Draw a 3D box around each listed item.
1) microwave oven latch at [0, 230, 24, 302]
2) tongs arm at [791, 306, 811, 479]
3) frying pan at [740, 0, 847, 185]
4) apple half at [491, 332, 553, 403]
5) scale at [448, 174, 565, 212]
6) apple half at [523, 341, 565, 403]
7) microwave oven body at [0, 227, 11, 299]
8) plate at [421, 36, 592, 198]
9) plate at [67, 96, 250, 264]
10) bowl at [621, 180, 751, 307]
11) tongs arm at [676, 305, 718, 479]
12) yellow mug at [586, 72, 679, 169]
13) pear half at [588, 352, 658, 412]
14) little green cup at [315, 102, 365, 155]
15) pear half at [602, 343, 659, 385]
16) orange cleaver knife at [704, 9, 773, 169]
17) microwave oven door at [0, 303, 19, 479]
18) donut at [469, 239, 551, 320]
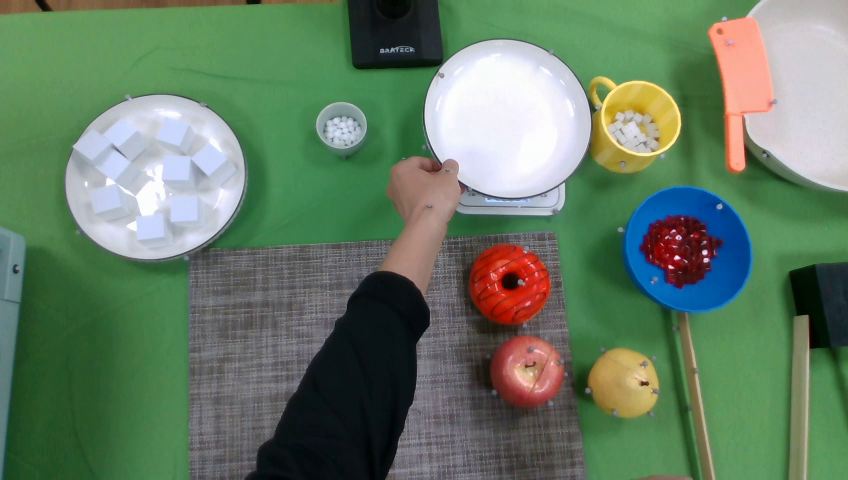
[{"bbox_3d":[-0.471,0.030,0.679,0.030,0.029,0.079,1,79,-4],"label":"microwave oven latch"},{"bbox_3d":[0.435,0.268,0.716,0.028,0.028,0.386,12,78,-9],"label":"tongs arm"},{"bbox_3d":[0.582,-0.121,0.768,0.307,0.103,0.484,-31,74,-8],"label":"frying pan"},{"bbox_3d":[0.105,0.139,0.693,0.053,0.075,0.080,28,81,6],"label":"apple half"},{"bbox_3d":[0.104,-0.136,0.775,0.149,0.031,0.200,0,79,-4],"label":"scale"},{"bbox_3d":[0.140,0.156,0.691,0.033,0.081,0.081,28,77,6],"label":"apple half"},{"bbox_3d":[-0.606,0.185,0.538,0.326,0.261,0.439,-1,79,-5],"label":"microwave oven body"},{"bbox_3d":[0.100,-0.149,0.743,0.209,0.038,0.208,1,77,-5],"label":"plate"},{"bbox_3d":[-0.313,-0.070,0.730,0.208,0.039,0.206,1,78,-4],"label":"plate"},{"bbox_3d":[0.303,0.010,0.735,0.151,0.077,0.150,1,79,-3],"label":"bowl"},{"bbox_3d":[0.350,0.265,0.707,0.051,0.026,0.383,-3,79,-9],"label":"tongs arm"},{"bbox_3d":[0.253,-0.161,0.773,0.100,0.064,0.130,-36,82,-9],"label":"yellow mug"},{"bbox_3d":[0.225,0.165,0.681,0.076,0.110,0.056,27,77,7],"label":"pear half"},{"bbox_3d":[-0.104,-0.137,0.758,0.061,0.039,0.061,1,77,-3],"label":"little green cup"},{"bbox_3d":[0.242,0.137,0.698,0.070,0.088,0.031,26,78,5],"label":"pear half"},{"bbox_3d":[0.394,-0.191,0.751,0.077,0.012,0.210,0,79,-1],"label":"orange cleaver knife"},{"bbox_3d":[-0.459,0.222,0.535,0.039,0.244,0.354,-2,78,-4],"label":"microwave oven door"},{"bbox_3d":[0.102,0.047,0.727,0.099,0.048,0.098,0,78,-1],"label":"donut"}]
